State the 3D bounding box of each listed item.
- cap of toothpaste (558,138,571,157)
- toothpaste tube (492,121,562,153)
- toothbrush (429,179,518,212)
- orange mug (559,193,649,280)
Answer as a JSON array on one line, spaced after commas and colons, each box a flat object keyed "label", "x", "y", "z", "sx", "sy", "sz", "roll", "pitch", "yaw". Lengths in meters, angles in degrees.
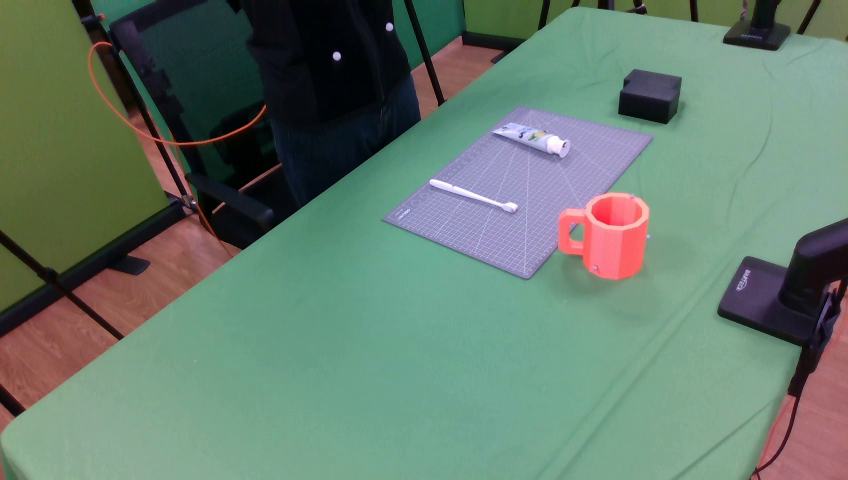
[{"label": "cap of toothpaste", "x": 0.258, "y": -0.171, "z": 1.118, "sx": 0.011, "sy": 0.037, "sz": 0.037, "roll": 25, "pitch": 52, "yaw": 32}, {"label": "toothpaste tube", "x": 0.209, "y": -0.203, "z": 1.174, "sx": 0.055, "sy": 0.034, "sz": 0.163, "roll": -27, "pitch": 39, "yaw": -30}, {"label": "toothbrush", "x": 0.084, "y": -0.081, "z": 1.063, "sx": 0.180, "sy": 0.014, "sz": 0.017, "roll": 20, "pitch": 45, "yaw": 30}, {"label": "orange mug", "x": 0.261, "y": -0.008, "z": 0.884, "sx": 0.126, "sy": 0.101, "sz": 0.083, "roll": 9, "pitch": 43, "yaw": 14}]
